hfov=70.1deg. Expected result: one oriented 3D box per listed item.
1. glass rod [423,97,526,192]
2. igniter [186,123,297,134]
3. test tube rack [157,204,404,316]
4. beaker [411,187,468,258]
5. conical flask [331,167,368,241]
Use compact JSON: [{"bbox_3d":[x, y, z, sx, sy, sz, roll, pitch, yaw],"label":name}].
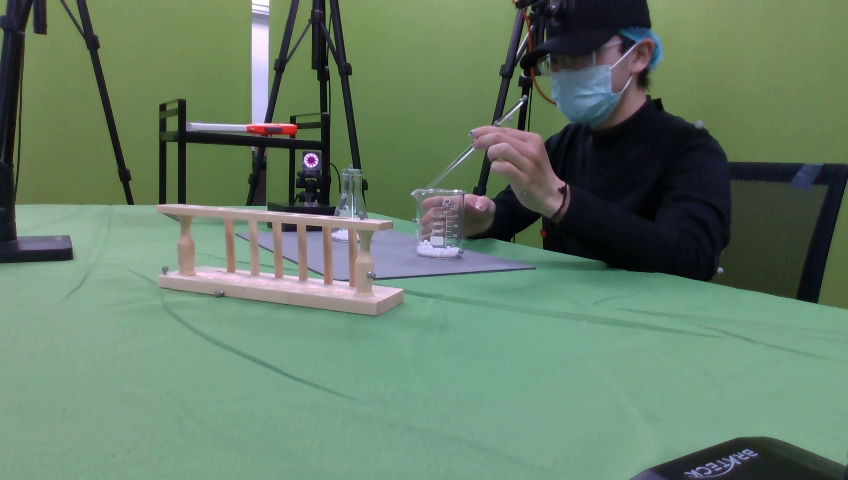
[{"bbox_3d":[0.066,-0.128,0.838,0.199,0.008,0.008,-41,-16,28],"label":"glass rod"},{"bbox_3d":[-0.392,-0.248,1.341,0.057,0.025,0.278,9,14,38],"label":"igniter"},{"bbox_3d":[-0.143,0.013,0.599,0.242,0.085,0.067,5,8,19],"label":"test tube rack"},{"bbox_3d":[0.022,-0.027,0.890,0.084,0.100,0.074,1,7,-6],"label":"beaker"},{"bbox_3d":[-0.123,-0.061,1.018,0.075,0.122,0.075,2,7,0],"label":"conical flask"}]
